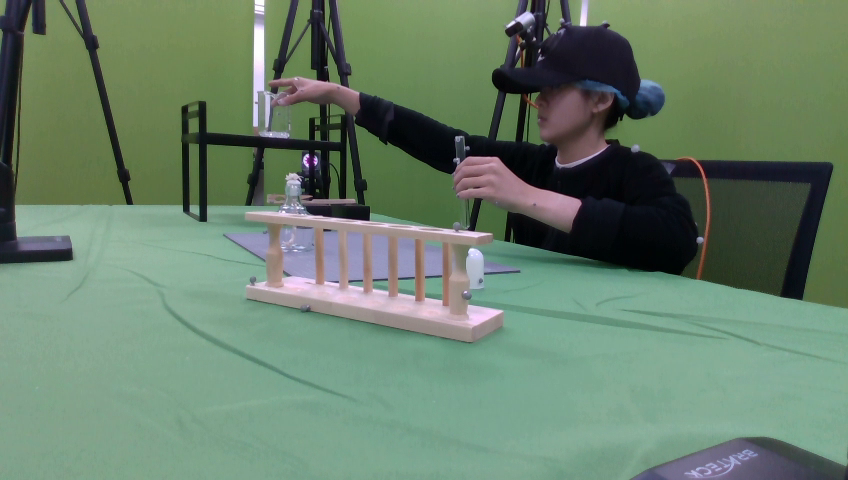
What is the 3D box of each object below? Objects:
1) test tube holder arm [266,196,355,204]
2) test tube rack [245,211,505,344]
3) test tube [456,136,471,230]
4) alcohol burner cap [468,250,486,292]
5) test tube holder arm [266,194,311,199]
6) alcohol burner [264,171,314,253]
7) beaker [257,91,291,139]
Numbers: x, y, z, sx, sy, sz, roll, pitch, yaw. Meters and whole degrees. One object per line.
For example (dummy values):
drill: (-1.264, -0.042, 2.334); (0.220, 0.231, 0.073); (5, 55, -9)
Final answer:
test tube holder arm: (-0.222, -0.080, 1.196); (0.179, 0.013, 0.015); (-3, 3, -30)
test tube rack: (-0.049, 0.025, 0.547); (0.241, 0.085, 0.067); (7, 8, 29)
test tube: (0.063, -0.091, 0.967); (0.017, 0.150, 0.017); (-4, 8, 1)
alcohol burner cap: (0.056, 0.035, 0.690); (0.034, 0.048, 0.034); (2, 7, 0)
test tube holder arm: (-0.261, -0.084, 1.173); (0.088, 0.010, 0.015); (-2, 2, -30)
alcohol burner: (-0.194, -0.042, 0.888); (0.078, 0.119, 0.078); (3, 5, 0)
beaker: (-0.332, -0.276, 1.343); (0.074, 0.100, 0.083); (0, 8, -18)
